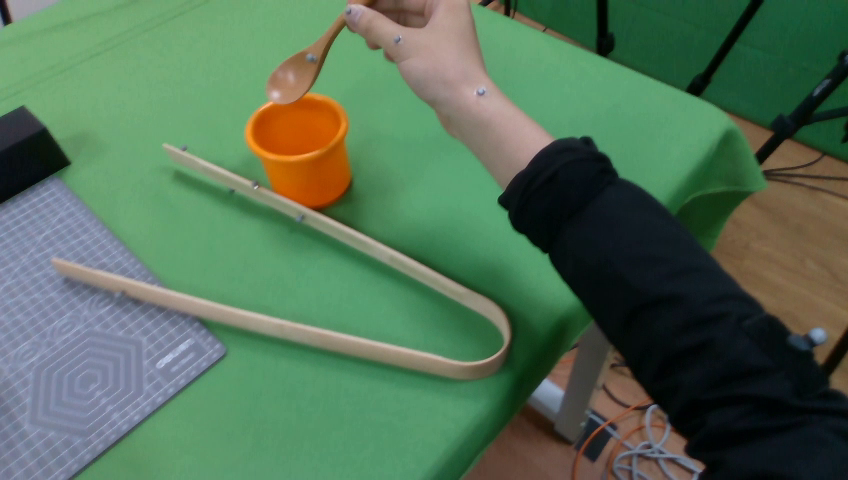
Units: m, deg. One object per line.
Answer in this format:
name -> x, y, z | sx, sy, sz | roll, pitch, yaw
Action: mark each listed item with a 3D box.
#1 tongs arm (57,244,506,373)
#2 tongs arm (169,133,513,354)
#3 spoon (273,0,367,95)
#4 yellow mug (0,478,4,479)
tongs arm -> -0.127, 0.052, 0.489 | 0.386, 0.028, 0.028 | 13, 50, 11
tongs arm -> -0.092, -0.008, 0.531 | 0.383, 0.027, 0.050 | 24, 57, 18
spoon -> -0.056, -0.174, 0.465 | 0.022, 0.193, 0.041 | 0, 65, -48
yellow mug -> -0.268, 0.194, 0.319 | 0.131, 0.064, 0.099 | -33, 47, -30
